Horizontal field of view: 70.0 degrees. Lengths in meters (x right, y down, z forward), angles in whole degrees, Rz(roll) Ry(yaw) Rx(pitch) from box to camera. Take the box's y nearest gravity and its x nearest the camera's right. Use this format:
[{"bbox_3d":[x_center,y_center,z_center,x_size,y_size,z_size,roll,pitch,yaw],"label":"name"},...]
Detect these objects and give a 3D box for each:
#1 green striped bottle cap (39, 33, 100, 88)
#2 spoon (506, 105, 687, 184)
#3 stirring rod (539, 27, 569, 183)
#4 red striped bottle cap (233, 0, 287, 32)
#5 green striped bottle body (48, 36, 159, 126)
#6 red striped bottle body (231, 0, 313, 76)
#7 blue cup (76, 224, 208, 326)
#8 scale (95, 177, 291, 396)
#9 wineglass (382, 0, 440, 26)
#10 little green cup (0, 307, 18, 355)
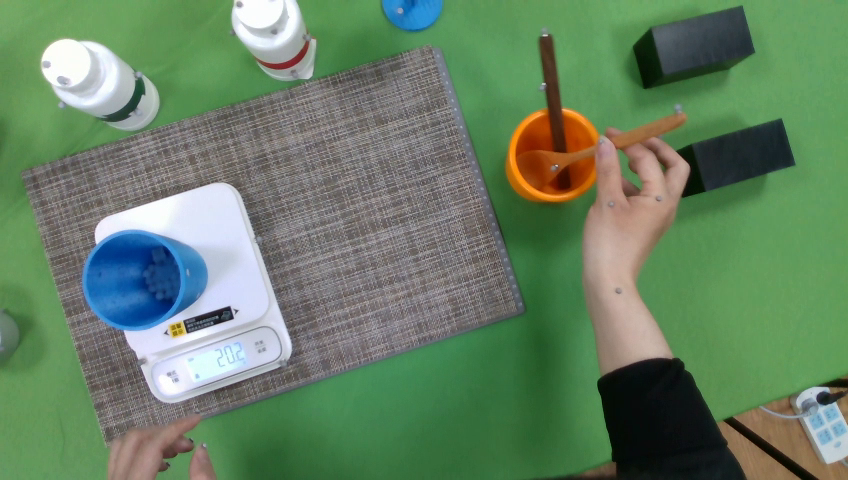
[{"bbox_3d":[-0.306,-0.155,0.523,0.044,0.020,0.044,0,89,0],"label":"green striped bottle cap"},{"bbox_3d":[0.154,-0.089,0.573,0.021,0.193,0.042,-34,104,-37],"label":"spoon"},{"bbox_3d":[0.127,-0.122,0.584,0.014,0.005,0.178,-13,134,6],"label":"stirring rod"},{"bbox_3d":[-0.144,-0.208,0.533,0.044,0.018,0.044,0,86,-2],"label":"red striped bottle cap"},{"bbox_3d":[-0.308,-0.152,0.578,0.063,0.119,0.063,0,88,-2],"label":"green striped bottle body"},{"bbox_3d":[-0.146,-0.206,0.587,0.063,0.119,0.063,0,88,-3],"label":"red striped bottle body"},{"bbox_3d":[-0.243,0.029,0.552,0.093,0.100,0.092,0,91,-3],"label":"blue cup"},{"bbox_3d":[-0.233,0.048,0.617,0.149,0.031,0.201,-19,90,-2],"label":"scale"},{"bbox_3d":[-0.012,-0.265,0.567,0.074,0.172,0.073,0,88,-2],"label":"wineglass"},{"bbox_3d":[-0.445,0.093,0.607,0.061,0.038,0.061,0,88,-3],"label":"little green cup"}]
